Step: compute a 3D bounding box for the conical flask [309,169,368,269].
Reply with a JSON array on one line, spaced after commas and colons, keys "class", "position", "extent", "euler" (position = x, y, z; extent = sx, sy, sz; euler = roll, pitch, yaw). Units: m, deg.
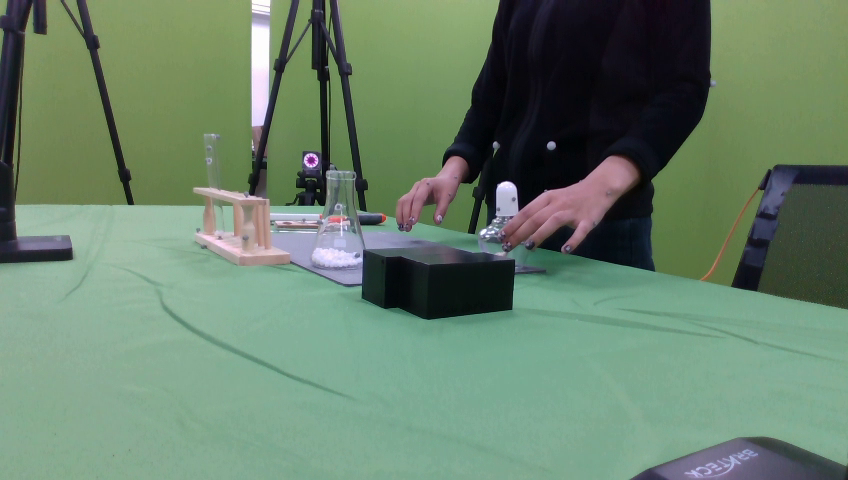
[{"class": "conical flask", "position": [-0.107, -0.028, 0.762], "extent": [0.075, 0.122, 0.075], "euler": [2, 7, 0]}]

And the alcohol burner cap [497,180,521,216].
[{"class": "alcohol burner cap", "position": [0.113, -0.057, 0.810], "extent": [0.034, 0.048, 0.034], "euler": [-5, 12, 1]}]

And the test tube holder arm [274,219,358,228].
[{"class": "test tube holder arm", "position": [-0.206, -0.032, 1.176], "extent": [0.179, 0.015, 0.013], "euler": [-4, 46, -39]}]

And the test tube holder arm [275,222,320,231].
[{"class": "test tube holder arm", "position": [-0.238, -0.026, 1.145], "extent": [0.088, 0.015, 0.010], "euler": [-3, 45, -39]}]

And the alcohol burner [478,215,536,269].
[{"class": "alcohol burner", "position": [0.113, -0.021, 0.816], "extent": [0.078, 0.119, 0.078], "euler": [2, 9, 0]}]

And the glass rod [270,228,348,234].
[{"class": "glass rod", "position": [-0.234, -0.017, 1.105], "extent": [0.201, 0.008, 0.008], "euler": [1, 7, -26]}]

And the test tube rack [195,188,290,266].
[{"class": "test tube rack", "position": [-0.266, -0.025, 0.864], "extent": [0.067, 0.085, 0.241], "euler": [-2, 9, -33]}]

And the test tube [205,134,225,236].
[{"class": "test tube", "position": [-0.305, -0.079, 0.883], "extent": [0.017, 0.150, 0.017], "euler": [-2, 10, 1]}]

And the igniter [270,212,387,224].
[{"class": "igniter", "position": [-0.213, -0.048, 1.278], "extent": [0.278, 0.025, 0.057], "euler": [-1, -2, -25]}]
